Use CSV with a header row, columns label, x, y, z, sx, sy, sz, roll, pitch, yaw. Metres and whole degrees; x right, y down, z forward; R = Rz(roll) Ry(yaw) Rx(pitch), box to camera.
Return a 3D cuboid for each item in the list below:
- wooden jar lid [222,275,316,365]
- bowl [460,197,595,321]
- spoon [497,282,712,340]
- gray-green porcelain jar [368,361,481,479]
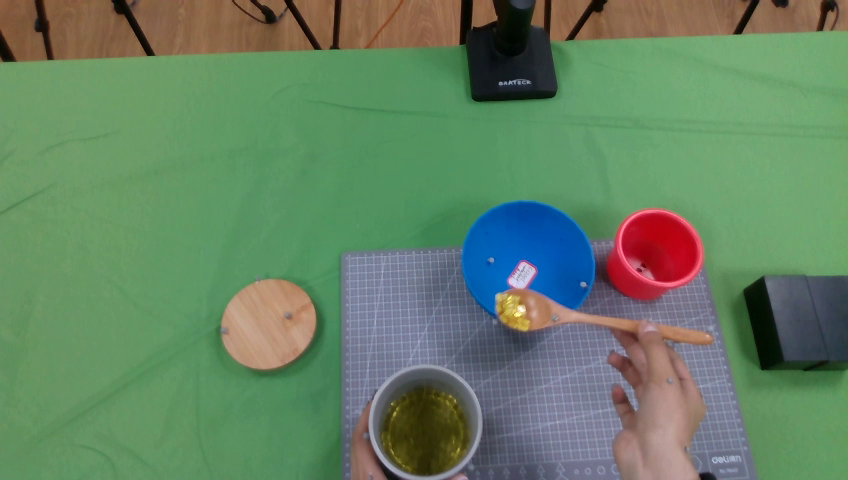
label,x,y,z,sx,sy,sz,roll,pitch,yaw
wooden jar lid,-0.181,0.095,0.712,0.108,0.021,0.107,0,67,0
bowl,0.115,0.033,0.707,0.151,0.077,0.150,0,67,0
spoon,0.163,0.072,0.565,0.193,0.022,0.041,8,73,22
gray-green porcelain jar,0.000,0.188,0.615,0.106,0.127,0.105,0,67,-1
